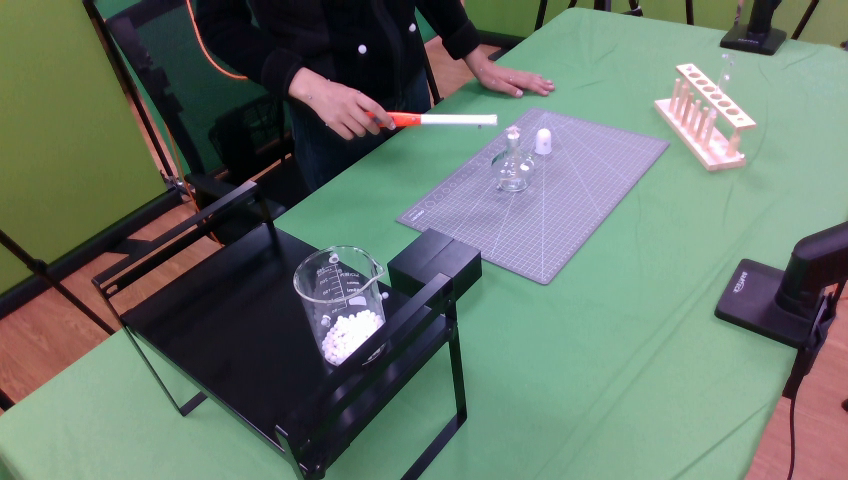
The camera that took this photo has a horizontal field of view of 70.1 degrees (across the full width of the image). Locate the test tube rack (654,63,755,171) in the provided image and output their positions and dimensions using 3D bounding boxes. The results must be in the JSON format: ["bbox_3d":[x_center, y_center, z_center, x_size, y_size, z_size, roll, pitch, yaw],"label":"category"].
[{"bbox_3d":[0.510,-0.233,1.120,0.067,0.085,0.241,-8,41,-1],"label":"test tube rack"}]

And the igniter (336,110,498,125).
[{"bbox_3d":[-0.015,-0.207,1.021,0.276,0.025,0.057,2,14,4],"label":"igniter"}]

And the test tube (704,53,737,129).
[{"bbox_3d":[0.526,-0.261,1.075,0.017,0.151,0.017,-2,44,2],"label":"test tube"}]

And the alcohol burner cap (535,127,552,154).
[{"bbox_3d":[0.227,-0.190,1.142,0.034,0.048,0.033,-3,40,3],"label":"alcohol burner cap"}]

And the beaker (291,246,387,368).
[{"bbox_3d":[-0.073,0.066,0.573,0.084,0.101,0.073,-7,41,0],"label":"beaker"}]

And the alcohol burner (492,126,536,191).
[{"bbox_3d":[0.155,-0.146,1.046,0.078,0.119,0.077,-4,43,4],"label":"alcohol burner"}]
